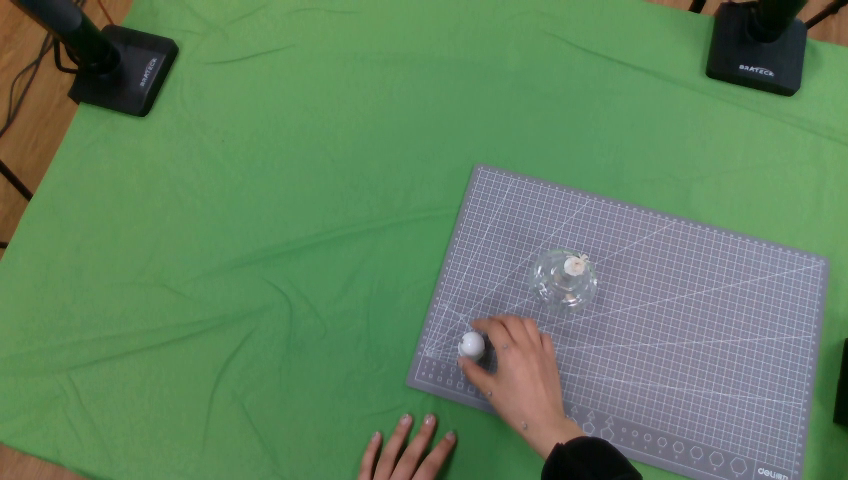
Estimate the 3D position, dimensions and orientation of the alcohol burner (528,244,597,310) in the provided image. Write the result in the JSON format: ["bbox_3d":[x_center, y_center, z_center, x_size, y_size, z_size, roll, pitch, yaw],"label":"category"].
[{"bbox_3d":[0.160,0.038,0.684,0.078,0.120,0.077,0,73,0],"label":"alcohol burner"}]

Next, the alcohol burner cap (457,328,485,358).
[{"bbox_3d":[0.054,0.118,0.699,0.034,0.048,0.033,-1,73,3],"label":"alcohol burner cap"}]
